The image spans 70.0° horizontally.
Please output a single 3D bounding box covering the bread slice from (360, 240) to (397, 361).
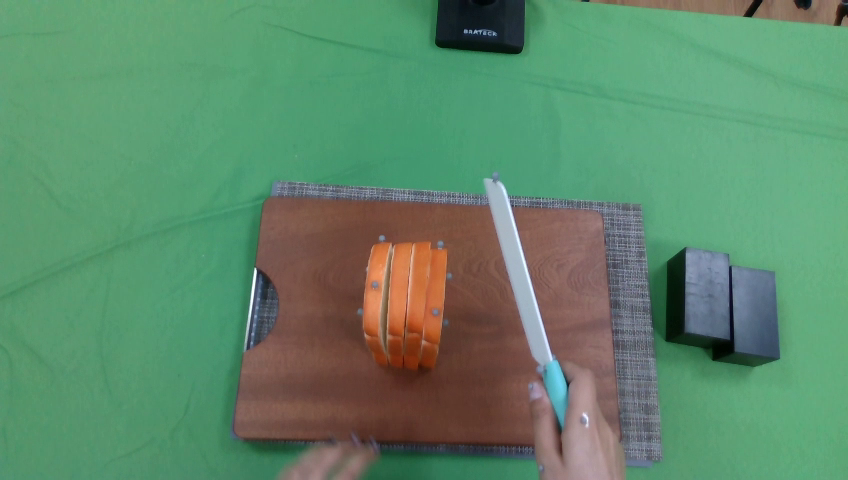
[{"bbox_3d":[-0.044,0.057,0.605,0.019,0.132,0.104,3,68,4],"label":"bread slice"}]

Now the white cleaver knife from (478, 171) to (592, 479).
[{"bbox_3d":[0.093,0.079,0.499,0.021,0.065,0.287,-17,99,-4],"label":"white cleaver knife"}]

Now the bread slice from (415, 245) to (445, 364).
[{"bbox_3d":[0.005,0.064,0.603,0.018,0.135,0.106,5,74,-2],"label":"bread slice"}]
